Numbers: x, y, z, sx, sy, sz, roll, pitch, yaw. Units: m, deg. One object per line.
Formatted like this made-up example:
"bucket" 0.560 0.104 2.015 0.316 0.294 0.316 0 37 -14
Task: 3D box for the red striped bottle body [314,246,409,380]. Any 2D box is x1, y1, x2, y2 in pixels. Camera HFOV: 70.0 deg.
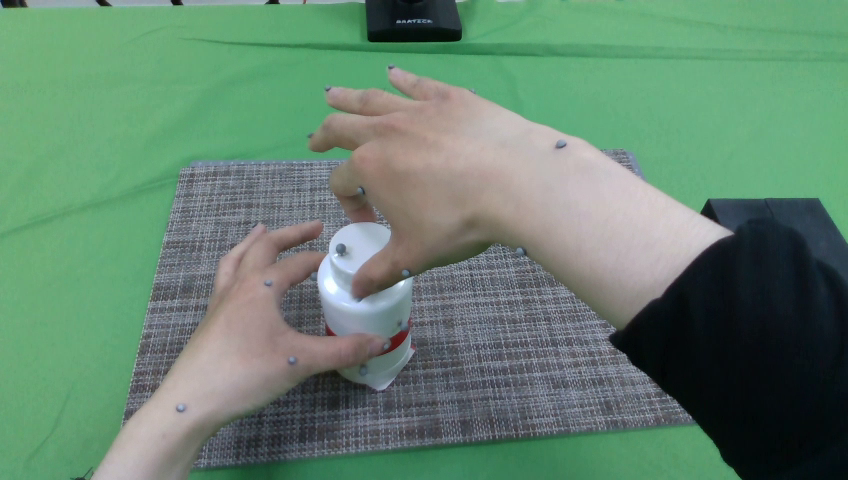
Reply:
"red striped bottle body" -0.042 0.043 0.421 0.063 0.121 0.062 2 49 -2

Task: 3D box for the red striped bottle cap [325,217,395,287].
"red striped bottle cap" -0.040 0.007 0.380 0.044 0.018 0.044 2 54 -2
